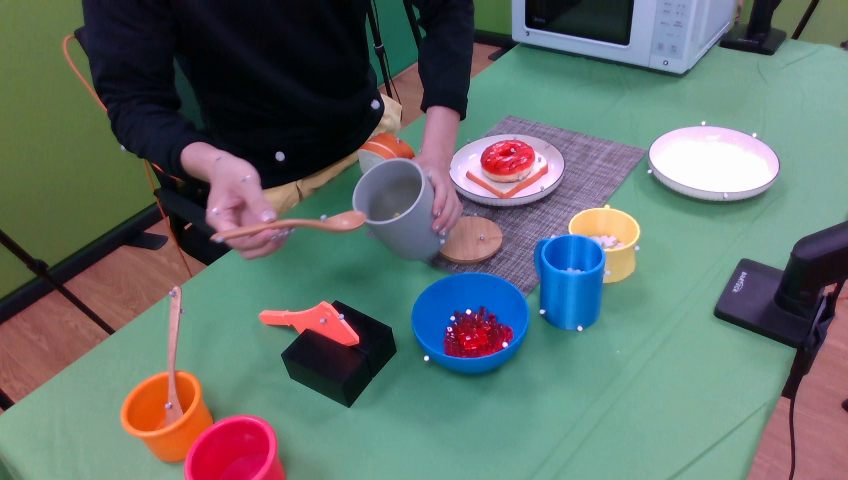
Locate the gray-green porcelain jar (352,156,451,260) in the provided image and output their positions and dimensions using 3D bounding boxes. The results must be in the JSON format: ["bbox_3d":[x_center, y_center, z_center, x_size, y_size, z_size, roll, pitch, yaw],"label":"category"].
[{"bbox_3d":[-0.025,-0.039,0.839,0.105,0.127,0.105,-10,59,18],"label":"gray-green porcelain jar"}]

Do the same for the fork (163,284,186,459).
[{"bbox_3d":[-0.302,0.157,0.733,0.028,0.019,0.207,-3,85,13],"label":"fork"}]

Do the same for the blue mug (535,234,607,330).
[{"bbox_3d":[0.191,0.048,0.824,0.082,0.106,0.115,-26,44,-20],"label":"blue mug"}]

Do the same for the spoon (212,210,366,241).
[{"bbox_3d":[-0.144,-0.017,0.673,0.195,0.021,0.041,-7,28,-46],"label":"spoon"}]

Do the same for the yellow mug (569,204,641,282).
[{"bbox_3d":[0.268,-0.005,0.904,0.099,0.064,0.130,7,41,15],"label":"yellow mug"}]

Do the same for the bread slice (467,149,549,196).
[{"bbox_3d":[0.156,-0.128,1.085,0.132,0.019,0.104,-34,48,-23],"label":"bread slice"}]

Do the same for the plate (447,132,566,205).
[{"bbox_3d":[0.146,-0.124,1.076,0.209,0.038,0.208,-3,41,3],"label":"plate"}]

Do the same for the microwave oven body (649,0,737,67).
[{"bbox_3d":[0.475,-0.602,1.411,0.438,0.261,0.327,23,50,32],"label":"microwave oven body"}]

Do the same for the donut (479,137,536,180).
[{"bbox_3d":[0.145,-0.144,1.056,0.099,0.048,0.098,-5,42,5],"label":"donut"}]

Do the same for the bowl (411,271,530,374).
[{"bbox_3d":[0.061,0.120,0.780,0.151,0.077,0.150,-4,40,4],"label":"bowl"}]

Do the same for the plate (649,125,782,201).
[{"bbox_3d":[0.493,-0.127,1.036,0.207,0.039,0.206,-4,40,4],"label":"plate"}]

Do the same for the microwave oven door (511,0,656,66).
[{"bbox_3d":[0.351,-0.539,1.348,0.353,0.245,0.039,24,50,31],"label":"microwave oven door"}]

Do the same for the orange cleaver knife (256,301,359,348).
[{"bbox_3d":[-0.160,0.115,0.813,0.210,0.077,0.012,-9,29,48],"label":"orange cleaver knife"}]

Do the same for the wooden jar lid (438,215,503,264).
[{"bbox_3d":[0.070,0.001,0.956,0.108,0.021,0.108,-4,40,4],"label":"wooden jar lid"}]

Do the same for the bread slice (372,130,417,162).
[{"bbox_3d":[-0.044,-0.126,1.038,0.106,0.135,0.018,30,61,33],"label":"bread slice"}]

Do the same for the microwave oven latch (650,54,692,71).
[{"bbox_3d":[0.531,-0.386,1.301,0.078,0.029,0.030,25,51,33],"label":"microwave oven latch"}]
